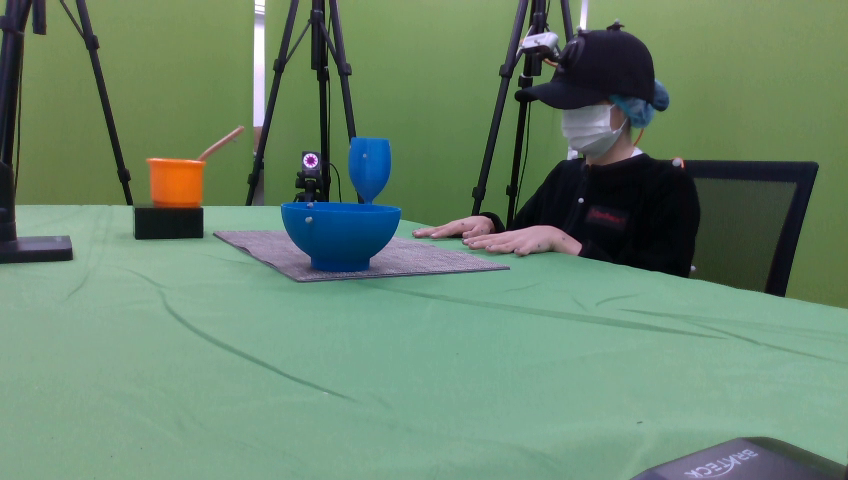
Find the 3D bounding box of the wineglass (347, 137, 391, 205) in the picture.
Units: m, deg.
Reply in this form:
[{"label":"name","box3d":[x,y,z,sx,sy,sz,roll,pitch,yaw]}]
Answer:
[{"label":"wineglass","box3d":[-0.093,-0.081,0.996,0.074,0.172,0.073,3,7,0]}]

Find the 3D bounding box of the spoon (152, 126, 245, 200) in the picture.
[{"label":"spoon","box3d":[-0.376,-0.132,1.017,0.041,0.194,0.022,13,-32,55]}]

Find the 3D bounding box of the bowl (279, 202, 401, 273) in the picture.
[{"label":"bowl","box3d":[-0.105,-0.003,0.756,0.151,0.077,0.151,3,7,0]}]
